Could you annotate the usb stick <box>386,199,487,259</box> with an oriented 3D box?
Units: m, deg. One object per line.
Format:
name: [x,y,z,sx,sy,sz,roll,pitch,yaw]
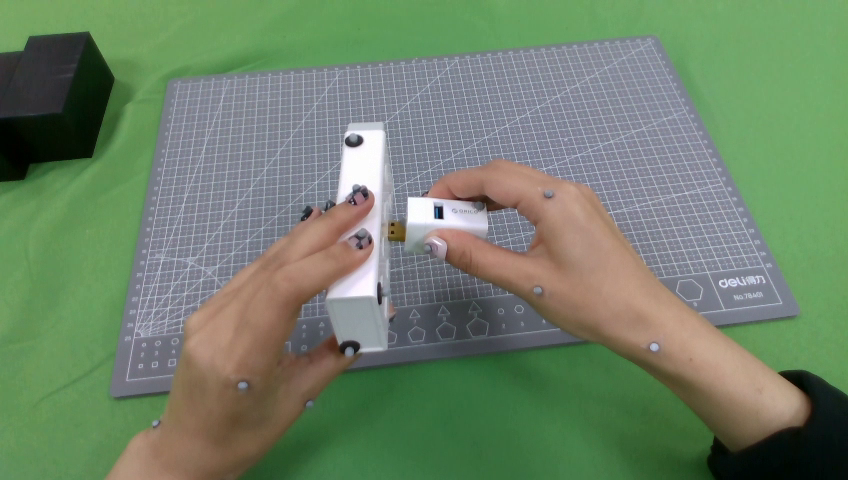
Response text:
usb stick: [0.004,-0.006,0.333,0.059,0.027,0.021,3,40,1]

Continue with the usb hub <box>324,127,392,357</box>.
usb hub: [-0.032,-0.003,0.324,0.025,0.050,0.124,-3,49,2]
